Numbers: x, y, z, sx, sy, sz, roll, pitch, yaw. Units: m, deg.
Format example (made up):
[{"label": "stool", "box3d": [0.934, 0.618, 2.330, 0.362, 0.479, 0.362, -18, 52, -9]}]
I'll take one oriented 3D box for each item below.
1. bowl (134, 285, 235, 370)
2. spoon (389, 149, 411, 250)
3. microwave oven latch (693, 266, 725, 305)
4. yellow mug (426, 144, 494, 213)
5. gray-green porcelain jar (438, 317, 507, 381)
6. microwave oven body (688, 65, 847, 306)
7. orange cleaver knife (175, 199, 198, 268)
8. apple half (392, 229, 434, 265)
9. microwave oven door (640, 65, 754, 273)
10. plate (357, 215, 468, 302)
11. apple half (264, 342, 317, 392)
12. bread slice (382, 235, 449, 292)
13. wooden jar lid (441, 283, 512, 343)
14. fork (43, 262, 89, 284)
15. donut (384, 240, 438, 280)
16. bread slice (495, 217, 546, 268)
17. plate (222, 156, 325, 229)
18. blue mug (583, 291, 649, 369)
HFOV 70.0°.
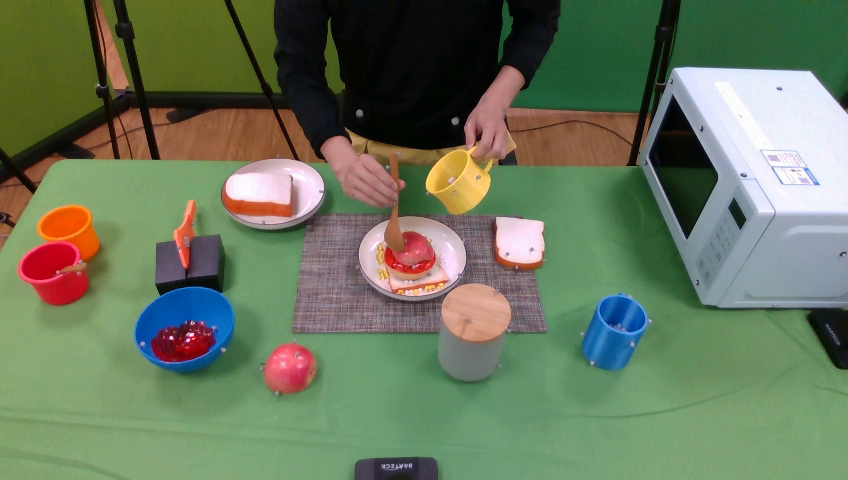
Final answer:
[{"label": "bowl", "box3d": [-0.377, 0.155, 0.981, 0.151, 0.077, 0.150, 2, 46, -2]}, {"label": "spoon", "box3d": [-0.044, -0.063, 1.006, 0.041, 0.194, 0.021, 18, 37, 30]}, {"label": "microwave oven latch", "box3d": [0.523, 0.081, 1.115, 0.030, 0.029, 0.078, 3, 46, 0]}, {"label": "yellow mug", "box3d": [0.072, -0.118, 1.078, 0.131, 0.064, 0.099, -45, 32, 4]}, {"label": "gray-green porcelain jar", "box3d": [0.076, 0.158, 0.977, 0.106, 0.127, 0.105, 2, 47, -2]}, {"label": "microwave oven body", "box3d": [0.669, -0.111, 1.176, 0.326, 0.261, 0.439, 0, 46, -3]}, {"label": "orange cleaver knife", "box3d": [-0.438, -0.017, 1.138, 0.012, 0.077, 0.210, -14, 27, -6]}, {"label": "apple half", "box3d": [-0.020, 0.005, 1.083, 0.081, 0.033, 0.081, 6, 47, -6]}, {"label": "microwave oven door", "box3d": [0.523, -0.147, 1.193, 0.039, 0.245, 0.353, 0, 47, -3]}, {"label": "plate", "box3d": [-0.022, 0.037, 1.141, 0.208, 0.039, 0.206, 2, 46, -2]}, {"label": "apple half", "box3d": [-0.214, 0.198, 0.970, 0.074, 0.053, 0.080, 19, 48, 11]}, {"label": "bread slice", "box3d": [-0.026, 0.044, 1.146, 0.107, 0.018, 0.133, -14, 55, -13]}, {"label": "wooden jar lid", "box3d": [0.080, 0.114, 0.931, 0.108, 0.021, 0.107, 1, 49, 0]}, {"label": "fork", "box3d": [-0.599, 0.053, 1.014, 0.207, 0.019, 0.028, -14, 29, 45]}, {"label": "donut", "box3d": [-0.025, 0.029, 1.110, 0.099, 0.048, 0.098, 2, 46, -2]}, {"label": "bread slice", "box3d": [0.194, 0.002, 1.205, 0.105, 0.019, 0.131, 5, 45, 3]}, {"label": "plate", "box3d": [-0.308, -0.095, 1.251, 0.209, 0.038, 0.208, 2, 47, -2]}, {"label": "blue mug", "box3d": [0.324, 0.142, 1.023, 0.082, 0.106, 0.116, 15, 47, 11]}]
